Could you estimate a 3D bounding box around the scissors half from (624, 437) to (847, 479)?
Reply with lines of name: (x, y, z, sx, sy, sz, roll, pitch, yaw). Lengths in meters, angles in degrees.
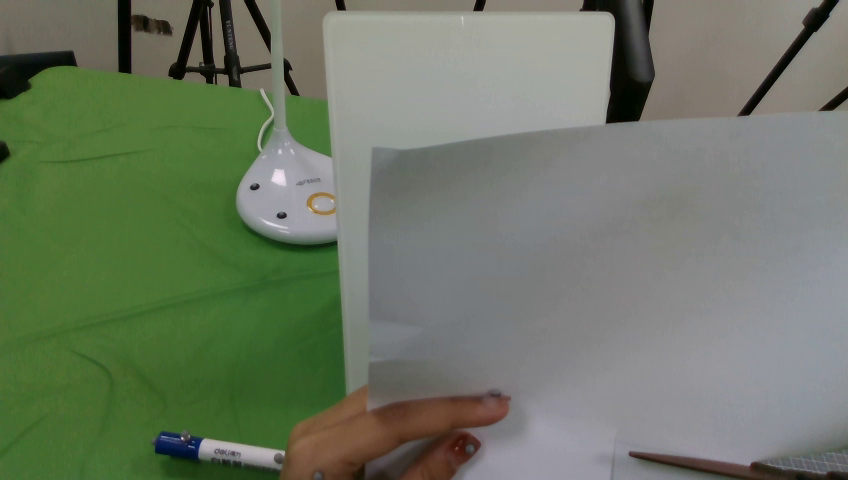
scissors half: (0.174, 0.103, 0.260, 0.175, 0.040, 0.012, 11, 58, 3)

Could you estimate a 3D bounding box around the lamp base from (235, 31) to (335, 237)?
lamp base: (-0.137, -0.121, 0.660, 0.161, 0.182, 0.177, -26, 47, -34)

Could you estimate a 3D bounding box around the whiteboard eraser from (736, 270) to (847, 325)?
whiteboard eraser: (0.387, 0.059, 0.625, 0.113, 0.042, 0.055, 2, 40, -6)

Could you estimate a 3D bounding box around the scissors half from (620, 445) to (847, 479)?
scissors half: (0.170, 0.092, 0.242, 0.174, 0.040, 0.012, -3, 60, 25)

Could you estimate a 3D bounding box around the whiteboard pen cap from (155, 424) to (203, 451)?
whiteboard pen cap: (-0.177, 0.145, 0.444, 0.033, 0.018, 0.018, 9, 39, -2)

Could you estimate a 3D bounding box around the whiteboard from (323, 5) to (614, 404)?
whiteboard: (0.022, -0.041, 0.533, 0.218, 0.307, 0.142, -6, 21, -14)

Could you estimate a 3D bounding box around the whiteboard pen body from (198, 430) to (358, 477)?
whiteboard pen body: (-0.119, 0.154, 0.444, 0.141, 0.017, 0.017, 10, 39, 0)
